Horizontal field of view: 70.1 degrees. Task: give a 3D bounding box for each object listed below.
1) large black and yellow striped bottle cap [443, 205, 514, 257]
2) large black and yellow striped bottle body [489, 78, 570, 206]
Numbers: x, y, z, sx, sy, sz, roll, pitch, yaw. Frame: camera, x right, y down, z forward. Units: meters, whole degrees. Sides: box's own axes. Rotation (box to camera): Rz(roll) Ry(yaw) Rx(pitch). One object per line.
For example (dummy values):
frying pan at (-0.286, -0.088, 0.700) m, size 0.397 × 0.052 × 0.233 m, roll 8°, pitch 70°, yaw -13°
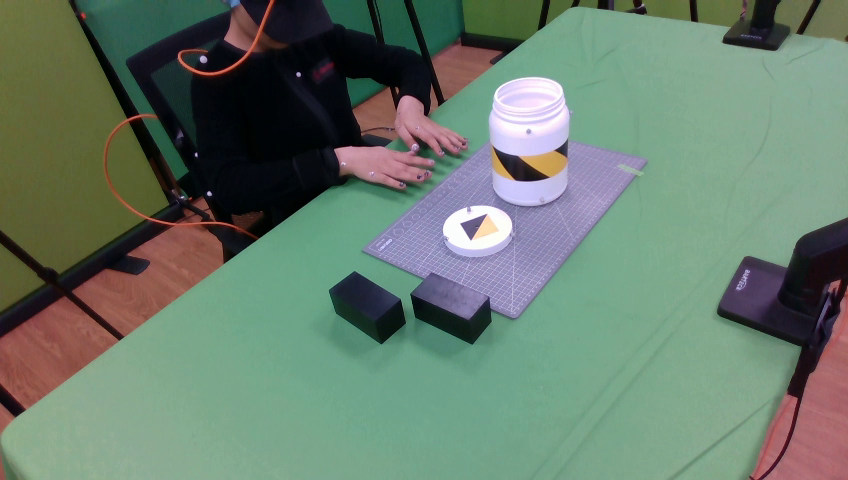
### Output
large black and yellow striped bottle cap at (0.088, -0.016, 0.986) m, size 0.115 × 0.019 × 0.114 m, roll -4°, pitch 41°, yaw 4°
large black and yellow striped bottle body at (0.177, -0.164, 1.012) m, size 0.131 × 0.185 × 0.130 m, roll -5°, pitch 40°, yaw 5°
